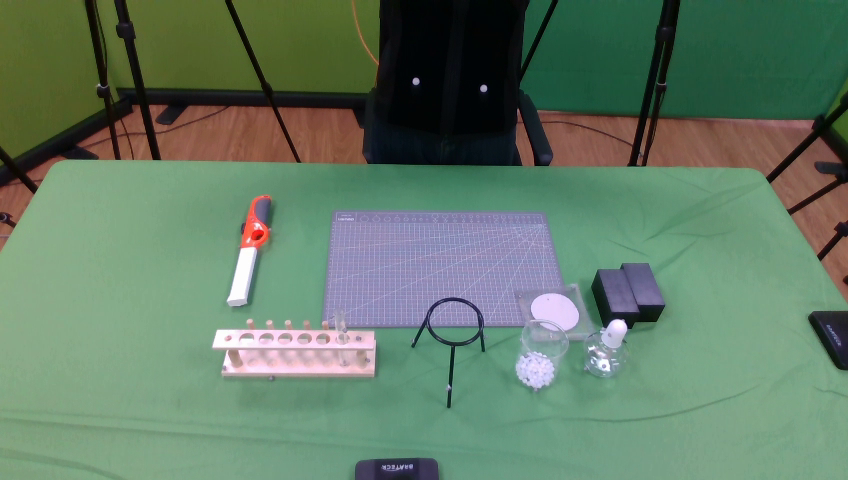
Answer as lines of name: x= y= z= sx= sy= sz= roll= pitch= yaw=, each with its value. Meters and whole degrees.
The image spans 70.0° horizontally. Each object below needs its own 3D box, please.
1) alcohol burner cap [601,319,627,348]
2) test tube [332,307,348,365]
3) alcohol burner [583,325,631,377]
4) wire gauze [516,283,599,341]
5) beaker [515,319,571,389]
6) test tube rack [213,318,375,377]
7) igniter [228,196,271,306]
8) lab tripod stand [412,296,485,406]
alcohol burner cap: x=0.305 y=0.146 z=0.966 sx=0.034 sy=0.048 sz=0.033 roll=6 pitch=41 yaw=-5
test tube: x=-0.128 y=0.151 z=0.931 sx=0.017 sy=0.151 sz=0.017 roll=1 pitch=50 yaw=-2
alcohol burner: x=0.304 y=0.171 z=0.991 sx=0.078 sy=0.120 sz=0.077 roll=2 pitch=48 yaw=-2
wire gauze: x=0.240 y=0.131 z=1.094 sx=0.125 sy=0.011 sz=0.120 roll=-3 pitch=48 yaw=-8
beaker: x=0.186 y=0.186 z=0.980 sx=0.074 sy=0.101 sz=0.083 roll=-23 pitch=51 yaw=-24
test tube rack: x=-0.202 y=0.170 z=0.977 sx=0.242 sy=0.085 sz=0.066 roll=1 pitch=46 yaw=-3
igniter: x=-0.332 y=0.011 z=1.160 sx=0.057 sy=0.025 sz=0.274 roll=-7 pitch=46 yaw=5
lab tripod stand: x=0.045 y=0.168 z=0.963 sx=0.148 sy=0.132 sz=0.147 roll=3 pitch=47 yaw=-3
